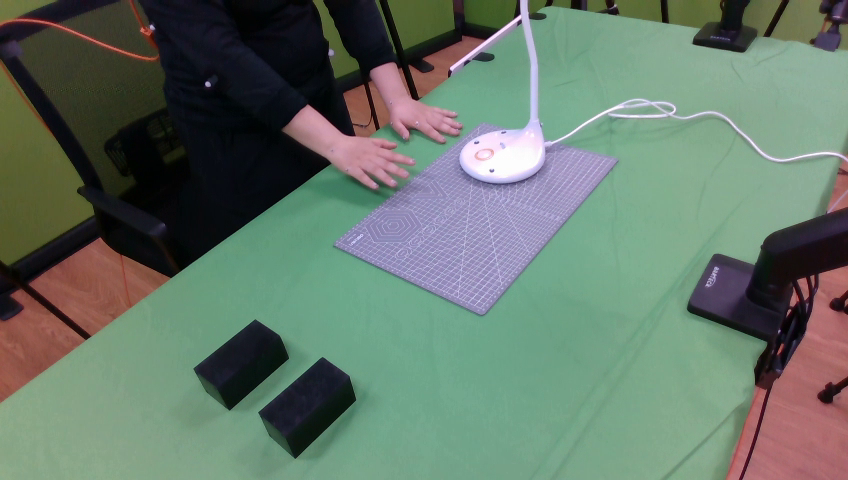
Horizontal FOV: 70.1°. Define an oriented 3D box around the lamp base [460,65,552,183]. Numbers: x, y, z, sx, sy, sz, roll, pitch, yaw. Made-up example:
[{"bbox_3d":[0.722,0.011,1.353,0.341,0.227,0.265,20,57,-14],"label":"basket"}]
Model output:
[{"bbox_3d":[0.149,-0.218,1.078,0.180,0.181,0.159,-19,42,-17],"label":"lamp base"}]
